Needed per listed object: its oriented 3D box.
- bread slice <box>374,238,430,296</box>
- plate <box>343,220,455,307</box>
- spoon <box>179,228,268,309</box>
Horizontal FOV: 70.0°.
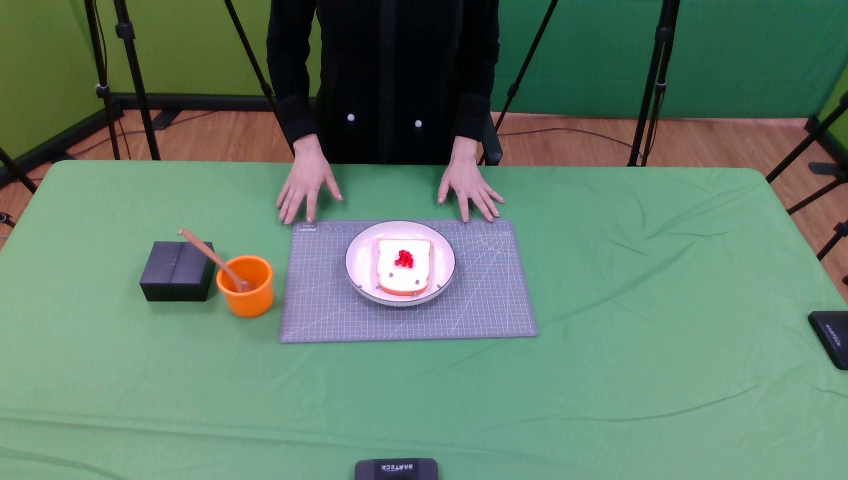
[{"bbox_3d":[-0.039,0.048,1.135,0.107,0.018,0.133,-1,47,-4],"label":"bread slice"},{"bbox_3d":[-0.047,0.046,1.135,0.209,0.038,0.208,2,46,-2],"label":"plate"},{"bbox_3d":[-0.342,0.048,1.037,0.021,0.194,0.041,-19,28,44],"label":"spoon"}]
